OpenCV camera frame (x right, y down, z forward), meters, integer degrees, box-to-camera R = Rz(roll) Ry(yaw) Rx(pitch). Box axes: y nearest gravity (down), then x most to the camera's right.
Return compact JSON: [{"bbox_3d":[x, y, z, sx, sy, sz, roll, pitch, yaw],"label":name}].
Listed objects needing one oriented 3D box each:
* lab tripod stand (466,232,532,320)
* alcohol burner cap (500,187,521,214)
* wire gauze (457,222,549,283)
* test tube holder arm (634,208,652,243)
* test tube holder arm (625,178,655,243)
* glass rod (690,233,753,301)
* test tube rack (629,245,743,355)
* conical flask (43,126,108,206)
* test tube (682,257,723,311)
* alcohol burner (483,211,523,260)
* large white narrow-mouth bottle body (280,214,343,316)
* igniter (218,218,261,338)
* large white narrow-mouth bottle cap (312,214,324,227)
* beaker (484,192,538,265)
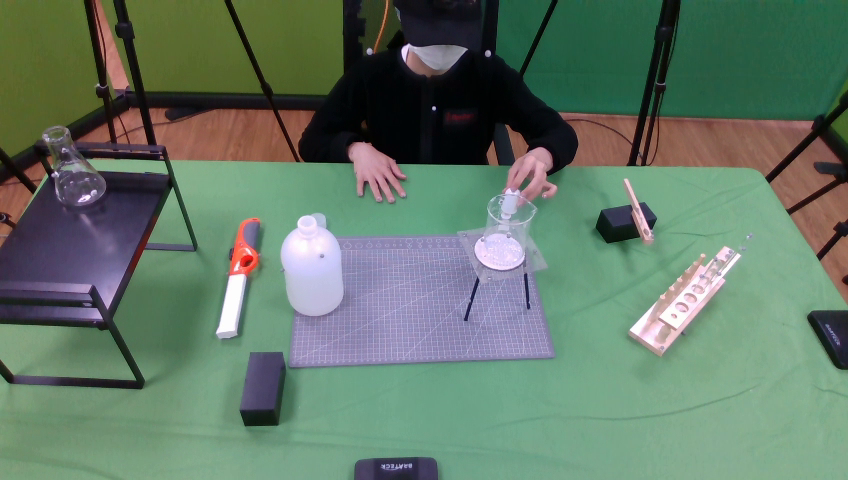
[{"bbox_3d":[0.125,0.059,1.065,0.148,0.132,0.147,1,45,0],"label":"lab tripod stand"},{"bbox_3d":[0.159,-0.075,1.098,0.034,0.048,0.033,6,39,-5],"label":"alcohol burner cap"},{"bbox_3d":[0.131,0.016,1.017,0.121,0.011,0.124,-10,44,-16],"label":"wire gauze"},{"bbox_3d":[0.428,-0.030,1.189,0.010,0.015,0.087,2,47,-3],"label":"test tube holder arm"},{"bbox_3d":[0.433,-0.062,1.220,0.013,0.015,0.177,1,47,-3],"label":"test tube holder arm"},{"bbox_3d":[0.507,0.053,1.041,0.008,0.200,0.008,5,51,-6],"label":"glass rod"},{"bbox_3d":[0.474,0.095,1.091,0.242,0.085,0.066,-34,56,-31],"label":"test tube rack"},{"bbox_3d":[-0.555,-0.119,0.953,0.075,0.122,0.075,2,46,-2],"label":"conical flask"},{"bbox_3d":[0.475,0.080,1.037,0.017,0.151,0.017,1,51,-1],"label":"test tube"},{"bbox_3d":[0.152,-0.018,1.156,0.078,0.120,0.077,0,47,0],"label":"alcohol burner"},{"bbox_3d":[-0.190,0.035,1.025,0.102,0.195,0.101,2,46,-2],"label":"large white narrow-mouth bottle body"},{"bbox_3d":[-0.336,0.060,1.111,0.057,0.025,0.274,-8,46,4],"label":"igniter"},{"bbox_3d":[-0.219,-0.033,1.214,0.038,0.024,0.037,2,46,-2],"label":"large white narrow-mouth bottle cap"},{"bbox_3d":[0.137,-0.016,0.980,0.084,0.101,0.073,-6,45,-9],"label":"beaker"}]
